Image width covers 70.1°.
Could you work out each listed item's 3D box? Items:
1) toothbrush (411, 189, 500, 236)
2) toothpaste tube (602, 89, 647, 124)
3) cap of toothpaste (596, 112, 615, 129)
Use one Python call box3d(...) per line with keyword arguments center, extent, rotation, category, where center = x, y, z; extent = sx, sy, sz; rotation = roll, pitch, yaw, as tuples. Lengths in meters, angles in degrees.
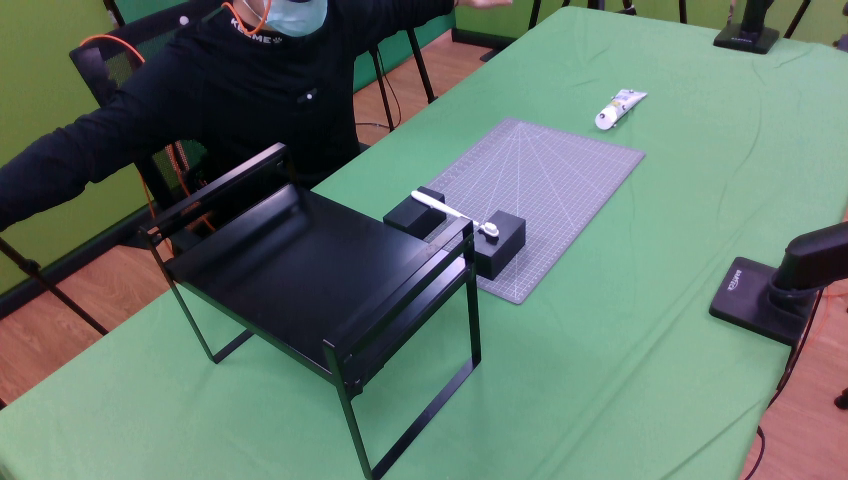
box3d(center=(0.044, -0.046, 0.940), extent=(0.180, 0.017, 0.014), rotation=(28, 67, 36), category="toothbrush")
box3d(center=(0.400, -0.274, 1.227), extent=(0.054, 0.034, 0.165), rotation=(23, 45, 26), category="toothpaste tube")
box3d(center=(0.354, -0.234, 1.177), extent=(0.037, 0.037, 0.011), rotation=(19, 44, 27), category="cap of toothpaste")
